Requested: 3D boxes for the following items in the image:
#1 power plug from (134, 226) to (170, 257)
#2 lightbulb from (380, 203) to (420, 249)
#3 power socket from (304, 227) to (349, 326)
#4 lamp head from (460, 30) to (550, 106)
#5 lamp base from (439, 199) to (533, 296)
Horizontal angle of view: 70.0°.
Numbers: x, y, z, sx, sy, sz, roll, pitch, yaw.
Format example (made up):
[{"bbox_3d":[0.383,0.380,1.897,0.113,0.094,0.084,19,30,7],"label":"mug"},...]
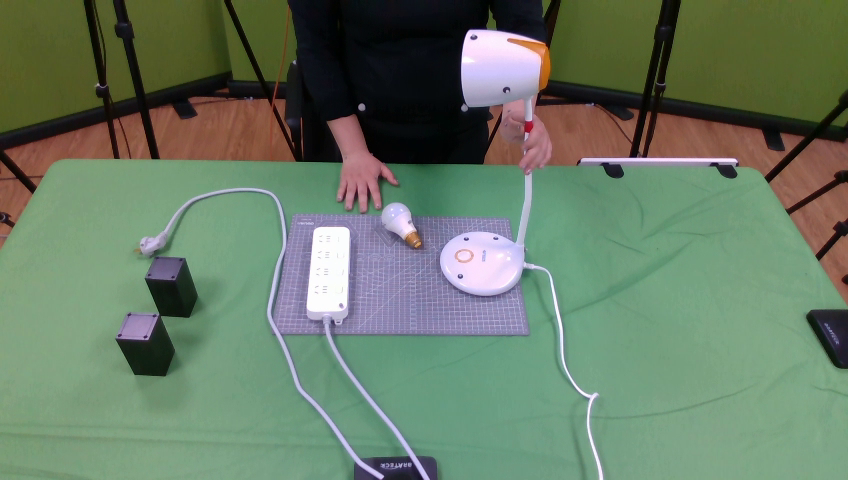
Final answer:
[{"bbox_3d":[-0.515,0.005,1.152,0.052,0.035,0.072,-5,24,7],"label":"power plug"},{"bbox_3d":[-0.043,-0.026,1.198,0.059,0.060,0.107,-29,70,-28],"label":"lightbulb"},{"bbox_3d":[-0.177,0.059,1.115,0.072,0.033,0.225,-1,46,-4],"label":"power socket"},{"bbox_3d":[0.122,-0.250,0.892,0.123,0.113,0.112,8,45,14],"label":"lamp head"},{"bbox_3d":[0.125,-0.011,1.103,0.179,0.181,0.159,2,45,-6],"label":"lamp base"}]
